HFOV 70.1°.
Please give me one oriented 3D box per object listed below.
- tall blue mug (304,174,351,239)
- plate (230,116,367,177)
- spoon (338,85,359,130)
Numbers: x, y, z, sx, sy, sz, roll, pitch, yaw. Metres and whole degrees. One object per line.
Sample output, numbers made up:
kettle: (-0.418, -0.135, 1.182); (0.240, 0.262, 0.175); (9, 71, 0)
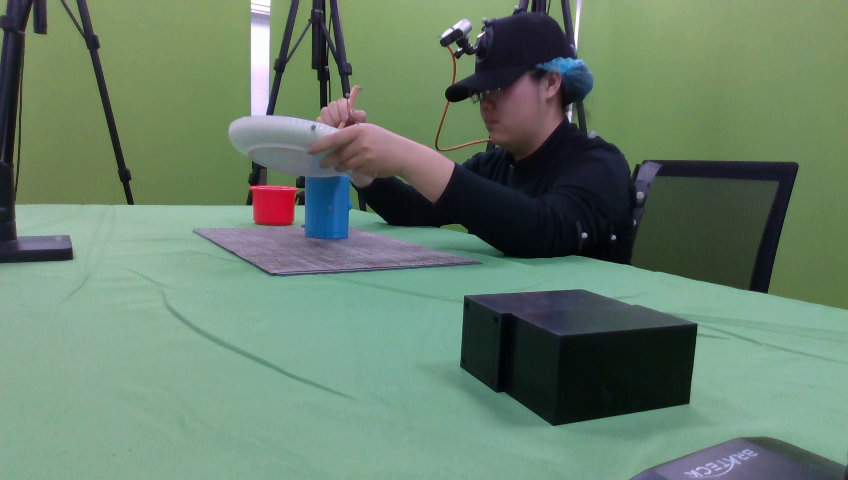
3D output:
tall blue mug: (-0.178, -0.062, 1.062); (0.078, 0.108, 0.106); (-5, 10, -38)
plate: (-0.195, -0.136, 0.940); (0.208, 0.039, 0.207); (6, -10, 1)
spoon: (-0.147, -0.211, 1.082); (0.041, 0.193, 0.022); (1, -38, 18)
